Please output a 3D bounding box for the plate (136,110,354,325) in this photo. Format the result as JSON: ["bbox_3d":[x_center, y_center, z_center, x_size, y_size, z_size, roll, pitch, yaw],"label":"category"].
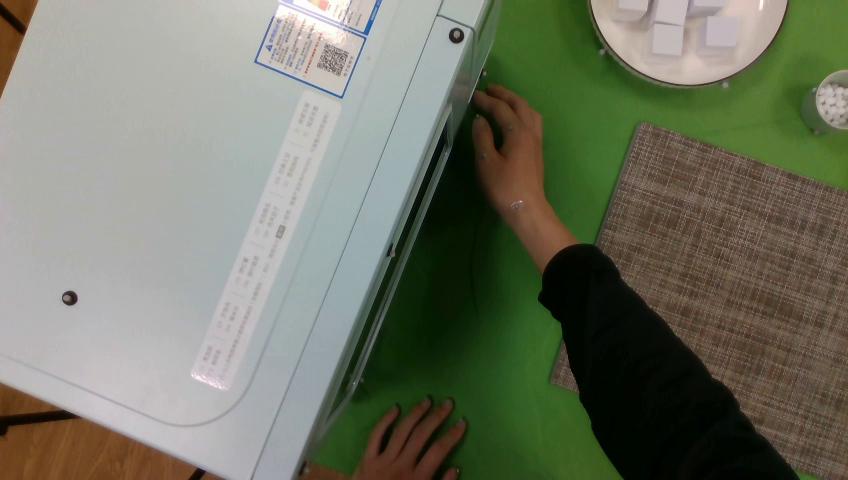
[{"bbox_3d":[-0.172,-0.021,0.596,0.209,0.038,0.209,0,92,1],"label":"plate"}]

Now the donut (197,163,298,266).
[{"bbox_3d":[-0.169,-0.024,0.583,0.099,0.048,0.099,0,90,3],"label":"donut"}]

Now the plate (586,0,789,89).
[{"bbox_3d":[0.274,-0.261,0.644,0.207,0.039,0.207,0,90,2],"label":"plate"}]

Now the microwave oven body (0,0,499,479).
[{"bbox_3d":[-0.162,-0.080,0.545,0.326,0.260,0.441,22,92,2],"label":"microwave oven body"}]

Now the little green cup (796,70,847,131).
[{"bbox_3d":[0.429,-0.144,0.639,0.061,0.038,0.061,0,89,3],"label":"little green cup"}]

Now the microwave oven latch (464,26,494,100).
[{"bbox_3d":[0.046,-0.188,0.633,0.030,0.029,0.079,25,92,2],"label":"microwave oven latch"}]

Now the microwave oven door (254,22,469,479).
[{"bbox_3d":[-0.044,0.014,0.536,0.039,0.244,0.355,22,91,2],"label":"microwave oven door"}]
